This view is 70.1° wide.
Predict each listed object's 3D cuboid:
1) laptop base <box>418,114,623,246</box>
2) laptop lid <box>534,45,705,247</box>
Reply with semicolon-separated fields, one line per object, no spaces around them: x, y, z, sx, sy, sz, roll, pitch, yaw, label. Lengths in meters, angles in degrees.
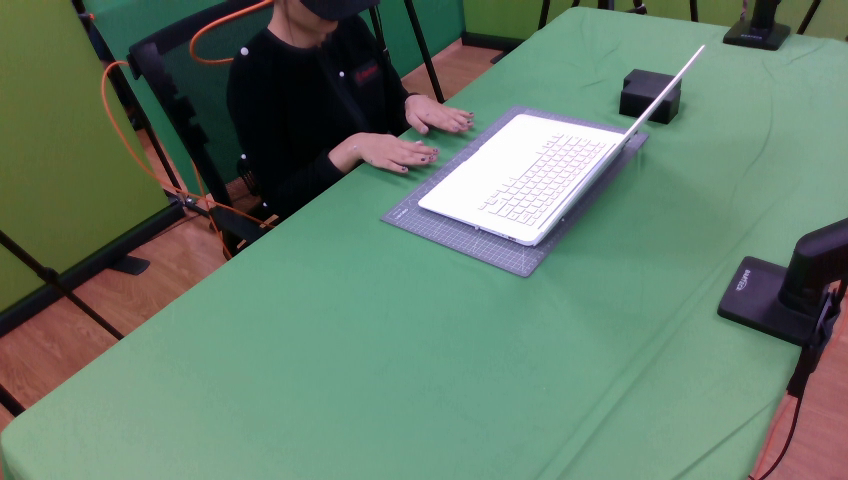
0.183;-0.122;1.094;0.233;0.023;0.355;19;47;34;laptop base
0.305;-0.146;0.938;0.013;0.241;0.357;40;54;9;laptop lid
